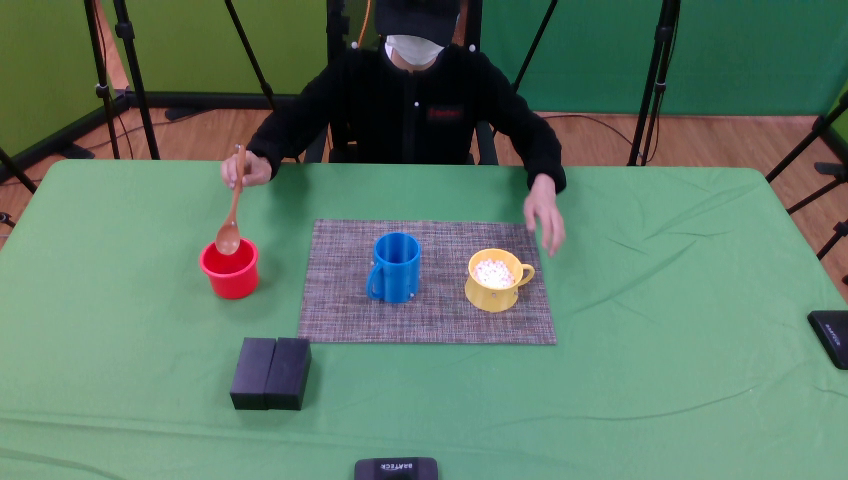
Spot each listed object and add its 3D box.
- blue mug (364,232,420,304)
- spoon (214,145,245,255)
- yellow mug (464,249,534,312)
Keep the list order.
[{"bbox_3d":[-0.062,0.059,1.074,0.082,0.106,0.116,35,53,27],"label":"blue mug"},{"bbox_3d":[-0.330,-0.068,1.051,0.042,0.194,0.021,9,12,-25],"label":"spoon"},{"bbox_3d":[0.141,0.070,1.106,0.131,0.064,0.099,-9,47,-14],"label":"yellow mug"}]
